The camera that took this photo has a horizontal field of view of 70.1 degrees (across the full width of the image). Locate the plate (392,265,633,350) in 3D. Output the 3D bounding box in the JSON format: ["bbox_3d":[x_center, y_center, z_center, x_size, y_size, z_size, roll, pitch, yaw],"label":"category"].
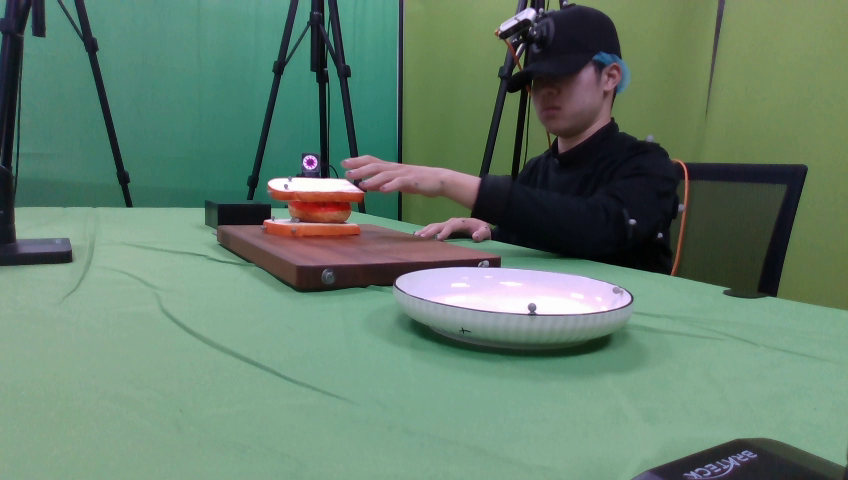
[{"bbox_3d":[0.074,0.057,0.533,0.209,0.038,0.209,3,7,0],"label":"plate"}]

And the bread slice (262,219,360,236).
[{"bbox_3d":[-0.179,-0.021,0.931,0.132,0.019,0.104,-1,7,-35],"label":"bread slice"}]

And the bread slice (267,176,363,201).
[{"bbox_3d":[-0.169,-0.078,0.923,0.135,0.018,0.106,-4,18,-26],"label":"bread slice"}]

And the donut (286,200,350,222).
[{"bbox_3d":[-0.165,-0.051,0.938,0.099,0.048,0.099,4,9,0],"label":"donut"}]
